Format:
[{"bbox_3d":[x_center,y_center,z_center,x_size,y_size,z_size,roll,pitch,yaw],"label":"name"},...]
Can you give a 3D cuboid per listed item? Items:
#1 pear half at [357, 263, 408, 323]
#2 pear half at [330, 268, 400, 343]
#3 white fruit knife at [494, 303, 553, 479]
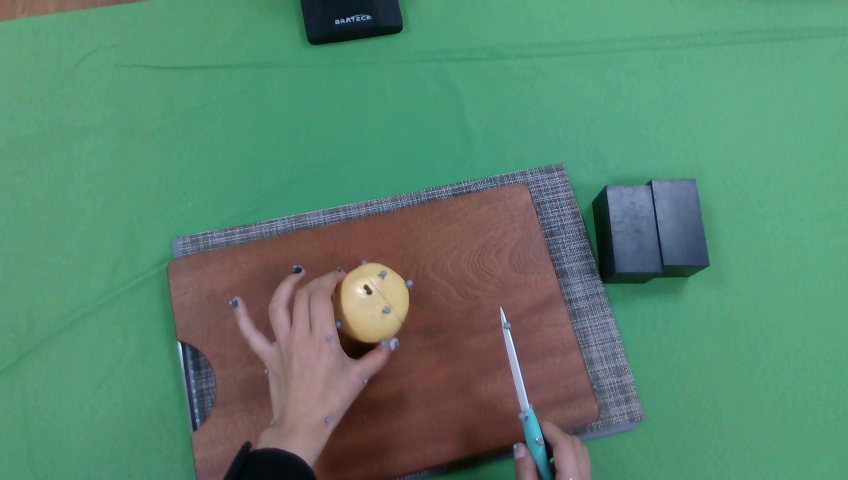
[{"bbox_3d":[-0.036,0.046,0.598,0.031,0.088,0.070,-43,74,-14],"label":"pear half"},{"bbox_3d":[-0.062,0.065,0.580,0.056,0.110,0.076,-41,74,-14],"label":"pear half"},{"bbox_3d":[0.089,0.153,0.540,0.016,0.027,0.208,-18,100,-15],"label":"white fruit knife"}]
